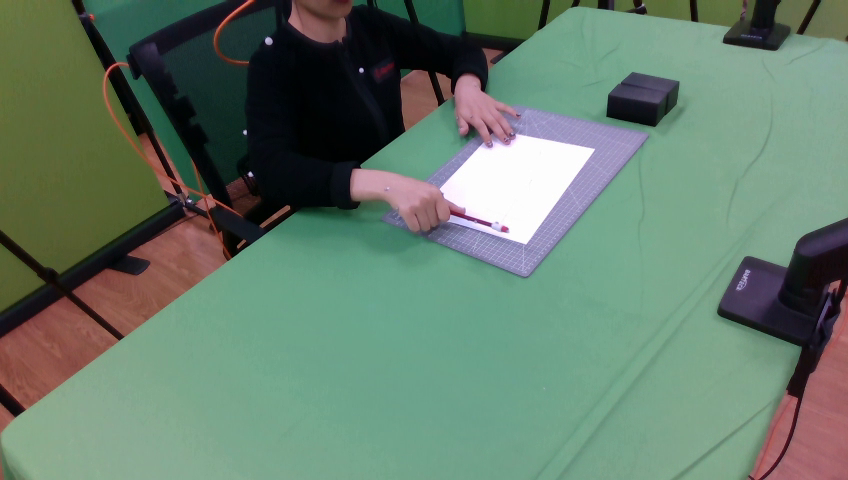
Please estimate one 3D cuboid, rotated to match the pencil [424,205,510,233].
[{"bbox_3d":[0.063,-0.038,0.969,0.012,0.012,0.192,-37,36,-29],"label":"pencil"}]
